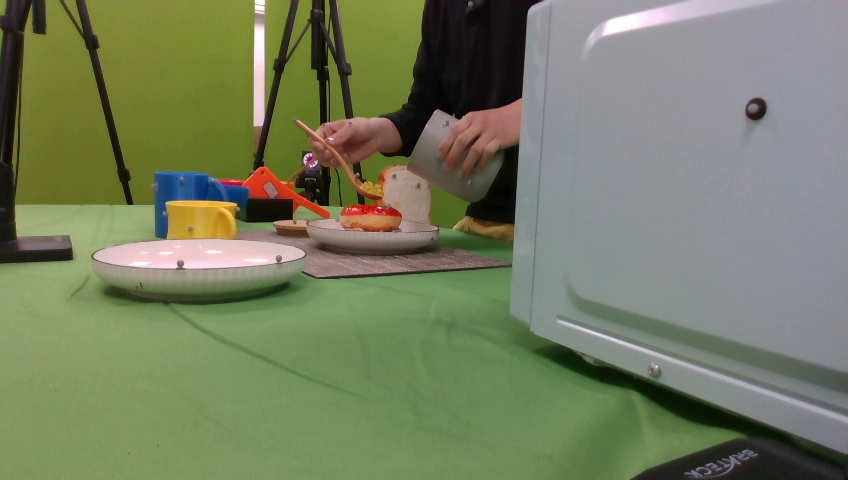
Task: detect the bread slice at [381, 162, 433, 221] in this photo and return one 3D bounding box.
[{"bbox_3d":[-0.035,-0.076,1.124,0.107,0.134,0.018,-4,1,-26],"label":"bread slice"}]

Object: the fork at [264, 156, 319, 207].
[{"bbox_3d":[-0.331,-0.144,1.506,0.207,0.018,0.028,-42,-20,22],"label":"fork"}]

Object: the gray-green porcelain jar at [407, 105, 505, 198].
[{"bbox_3d":[0.052,-0.131,0.925,0.126,0.105,0.106,27,9,1],"label":"gray-green porcelain jar"}]

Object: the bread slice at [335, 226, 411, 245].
[{"bbox_3d":[-0.074,-0.008,0.938,0.105,0.019,0.131,-1,7,-19],"label":"bread slice"}]

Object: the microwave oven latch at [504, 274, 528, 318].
[{"bbox_3d":[0.100,0.041,0.471,0.079,0.029,0.030,-1,8,-28],"label":"microwave oven latch"}]

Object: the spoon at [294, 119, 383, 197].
[{"bbox_3d":[-0.136,-0.130,0.948,0.193,0.021,0.042,46,16,12],"label":"spoon"}]

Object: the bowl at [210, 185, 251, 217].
[{"bbox_3d":[-0.408,-0.064,1.155,0.151,0.077,0.151,2,8,0],"label":"bowl"}]

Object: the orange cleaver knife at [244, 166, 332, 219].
[{"bbox_3d":[-0.301,-0.089,1.351,0.212,0.077,0.012,32,-11,-34],"label":"orange cleaver knife"}]

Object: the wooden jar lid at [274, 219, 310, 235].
[{"bbox_3d":[-0.213,-0.023,1.080,0.108,0.020,0.108,3,7,0],"label":"wooden jar lid"}]

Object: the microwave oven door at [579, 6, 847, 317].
[{"bbox_3d":[0.294,-0.067,0.570,0.358,0.243,0.039,-3,9,-31],"label":"microwave oven door"}]

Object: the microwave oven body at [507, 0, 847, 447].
[{"bbox_3d":[0.331,-0.042,0.425,0.444,0.260,0.324,-2,8,-31],"label":"microwave oven body"}]

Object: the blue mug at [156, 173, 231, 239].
[{"bbox_3d":[-0.381,-0.057,1.004,0.117,0.106,0.082,0,8,-12],"label":"blue mug"}]

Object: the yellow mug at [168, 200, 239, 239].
[{"bbox_3d":[-0.320,-0.023,0.904,0.130,0.064,0.100,9,11,36],"label":"yellow mug"}]

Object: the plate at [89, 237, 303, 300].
[{"bbox_3d":[-0.233,0.029,0.637,0.208,0.039,0.207,2,7,0],"label":"plate"}]

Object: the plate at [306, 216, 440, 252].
[{"bbox_3d":[-0.079,-0.011,0.950,0.209,0.038,0.209,2,7,0],"label":"plate"}]

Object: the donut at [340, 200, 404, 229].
[{"bbox_3d":[-0.081,-0.038,0.944,0.099,0.048,0.099,1,5,0],"label":"donut"}]
